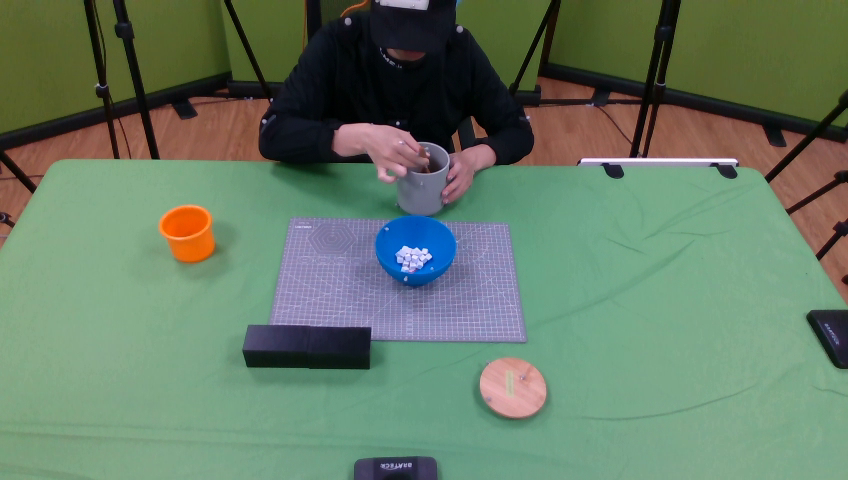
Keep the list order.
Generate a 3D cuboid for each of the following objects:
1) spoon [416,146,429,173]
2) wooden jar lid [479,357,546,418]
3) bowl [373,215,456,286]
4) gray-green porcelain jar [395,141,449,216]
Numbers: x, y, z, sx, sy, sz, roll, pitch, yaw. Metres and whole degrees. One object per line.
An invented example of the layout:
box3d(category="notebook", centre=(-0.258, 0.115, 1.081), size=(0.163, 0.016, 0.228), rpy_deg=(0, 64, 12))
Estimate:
box3d(category="spoon", centre=(-0.003, -0.151, 1.190), size=(0.041, 0.194, 0.021), rpy_deg=(20, 78, 8))
box3d(category="wooden jar lid", centre=(0.142, 0.240, 0.979), size=(0.108, 0.021, 0.107), rpy_deg=(1, 46, -1))
box3d(category="bowl", centre=(-0.019, 0.032, 1.122), size=(0.151, 0.077, 0.150), rpy_deg=(2, 46, -2))
box3d(category="gray-green porcelain jar", centre=(-0.007, -0.120, 1.241), size=(0.106, 0.127, 0.105), rpy_deg=(2, 46, -2))
